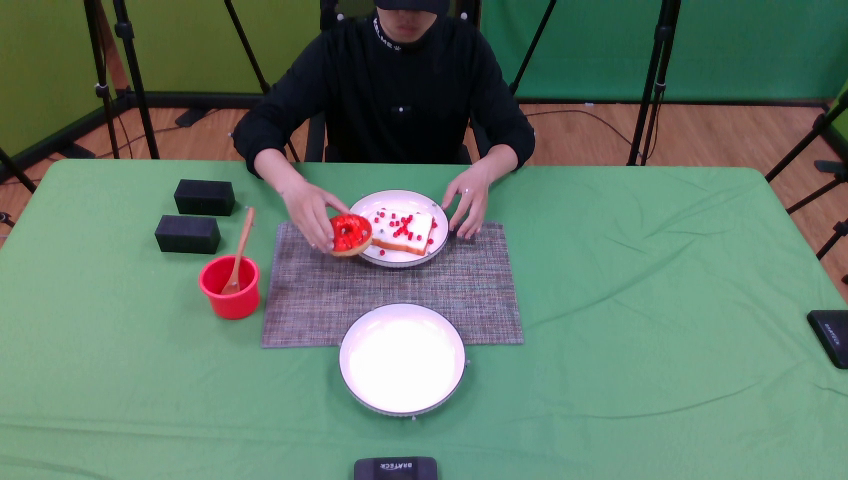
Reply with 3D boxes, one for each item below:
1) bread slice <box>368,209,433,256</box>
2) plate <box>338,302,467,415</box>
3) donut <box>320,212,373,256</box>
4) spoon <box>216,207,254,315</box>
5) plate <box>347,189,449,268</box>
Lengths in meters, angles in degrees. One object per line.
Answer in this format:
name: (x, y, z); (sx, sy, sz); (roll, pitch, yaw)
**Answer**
bread slice: (-0.053, -0.019, 1.199); (0.131, 0.019, 0.104); (11, 45, 3)
plate: (-0.035, 0.194, 0.992); (0.208, 0.039, 0.206); (2, 48, -2)
donut: (-0.140, -0.012, 1.100); (0.099, 0.048, 0.098); (-2, 45, 2)
spoon: (-0.322, 0.036, 1.053); (0.041, 0.021, 0.193); (14, 90, 11)
plate: (-0.055, -0.019, 1.195); (0.209, 0.038, 0.208); (2, 46, -2)
